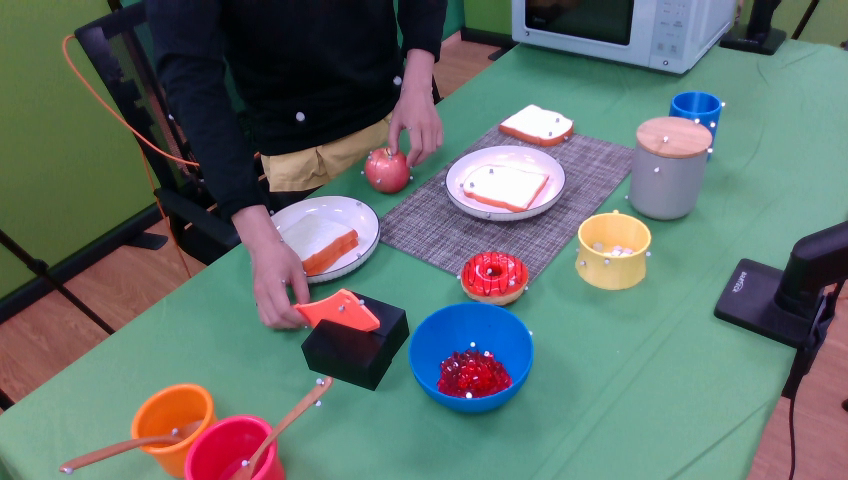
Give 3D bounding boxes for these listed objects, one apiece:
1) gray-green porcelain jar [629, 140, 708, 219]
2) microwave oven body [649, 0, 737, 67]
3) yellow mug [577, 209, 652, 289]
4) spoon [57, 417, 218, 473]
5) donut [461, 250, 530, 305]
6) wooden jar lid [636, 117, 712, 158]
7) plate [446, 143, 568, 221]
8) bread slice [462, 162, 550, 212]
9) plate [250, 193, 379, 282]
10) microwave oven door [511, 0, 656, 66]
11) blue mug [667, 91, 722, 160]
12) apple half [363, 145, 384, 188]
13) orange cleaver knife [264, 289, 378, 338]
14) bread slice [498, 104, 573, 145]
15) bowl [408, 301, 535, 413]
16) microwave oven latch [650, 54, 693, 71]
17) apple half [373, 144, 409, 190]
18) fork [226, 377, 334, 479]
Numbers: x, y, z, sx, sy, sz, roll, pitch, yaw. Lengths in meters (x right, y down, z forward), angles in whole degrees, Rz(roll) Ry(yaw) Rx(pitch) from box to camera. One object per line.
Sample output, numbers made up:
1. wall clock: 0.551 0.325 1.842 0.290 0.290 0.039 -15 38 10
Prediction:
1. gray-green porcelain jar: 0.383 -0.105 0.958 0.106 0.127 0.105 -4 41 4
2. microwave oven body: 0.475 -0.602 1.411 0.438 0.261 0.327 23 50 32
3. yellow mug: 0.279 0.004 0.893 0.099 0.064 0.130 5 41 14
4. spoon: -0.304 0.221 0.661 0.041 0.195 0.021 19 92 27
5. donut: 0.103 0.053 0.872 0.099 0.048 0.098 -4 40 4
6. wooden jar lid: 0.377 -0.151 0.917 0.108 0.021 0.108 -2 42 3
7. plate: 0.142 -0.096 1.045 0.207 0.039 0.206 -4 40 4
8. bread slice: 0.135 -0.094 1.045 0.133 0.018 0.107 15 45 23
9. plate: -0.174 -0.001 0.984 0.209 0.038 0.208 -3 40 3
10. microwave oven door: 0.351 -0.539 1.349 0.353 0.245 0.039 24 50 31
11. blue mug: 0.474 -0.207 1.079 0.082 0.106 0.116 4 42 13
12. apple half: -0.093 -0.133 1.095 0.032 0.081 0.081 12 44 12
13. orange cleaver knife: -0.144 0.105 0.822 0.210 0.077 0.012 -11 29 43
14. bread slice: 0.231 -0.231 1.205 0.105 0.019 0.130 -36 47 -29
15. bowl: 0.059 0.156 0.739 0.151 0.077 0.150 -4 40 4
16. microwave oven latch: 0.531 -0.386 1.301 0.078 0.029 0.030 26 51 33
17. apple half: -0.055 -0.127 1.088 0.053 0.075 0.081 13 37 12
18. fork: -0.163 0.216 0.647 0.207 0.019 0.028 -49 42 16
